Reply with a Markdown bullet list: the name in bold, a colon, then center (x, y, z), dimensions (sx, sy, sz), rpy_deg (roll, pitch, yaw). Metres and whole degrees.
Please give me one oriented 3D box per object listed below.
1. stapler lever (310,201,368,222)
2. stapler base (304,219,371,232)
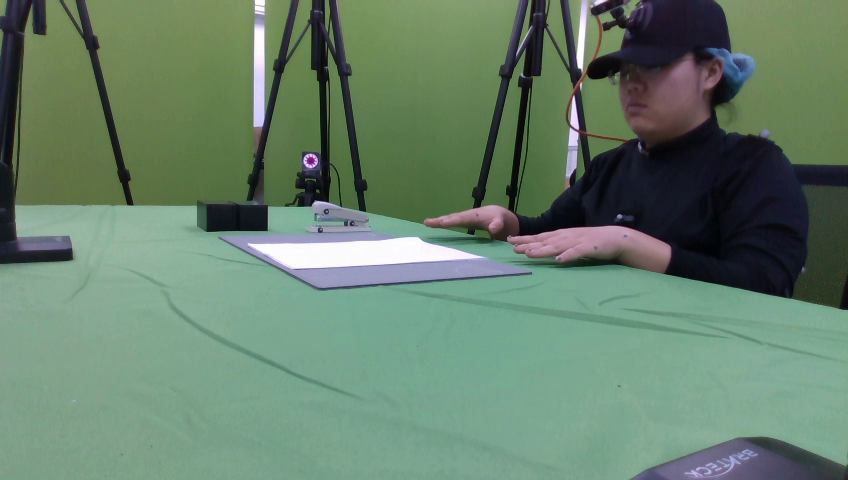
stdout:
- **stapler lever**: center (-0.166, -0.055, 1.184), dimensions (0.119, 0.040, 0.026), rpy_deg (0, 9, -33)
- **stapler base**: center (-0.169, -0.030, 1.186), dimensions (0.131, 0.024, 0.041), rpy_deg (0, 9, -33)
